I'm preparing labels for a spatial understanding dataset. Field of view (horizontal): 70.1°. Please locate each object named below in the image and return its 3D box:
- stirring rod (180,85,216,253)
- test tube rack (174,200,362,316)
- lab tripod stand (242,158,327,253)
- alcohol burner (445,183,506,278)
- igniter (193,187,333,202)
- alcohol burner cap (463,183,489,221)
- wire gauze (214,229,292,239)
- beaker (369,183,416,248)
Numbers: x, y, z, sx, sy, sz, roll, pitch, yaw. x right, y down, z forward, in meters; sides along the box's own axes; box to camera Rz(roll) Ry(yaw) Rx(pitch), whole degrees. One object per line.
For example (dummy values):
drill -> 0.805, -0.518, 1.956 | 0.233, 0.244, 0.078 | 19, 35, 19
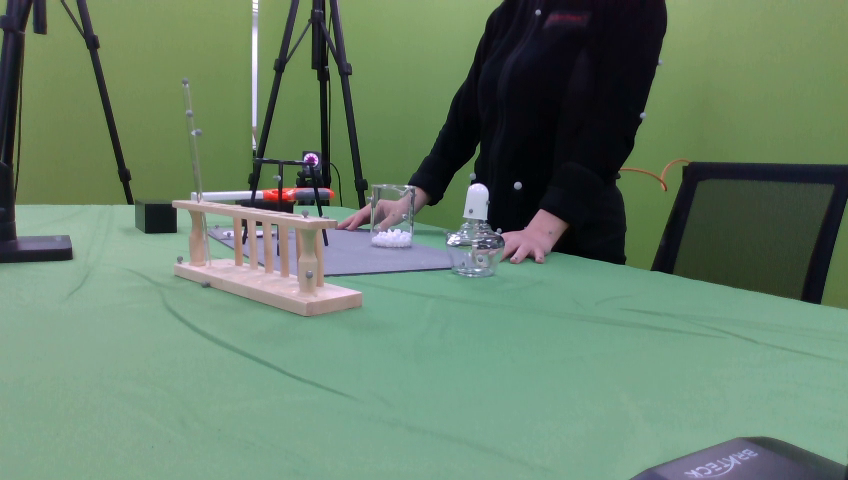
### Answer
stirring rod -> -0.237, -0.073, 0.634 | 0.006, 0.176, 0.014 | 0, 10, 42
test tube rack -> -0.169, 0.009, 0.622 | 0.241, 0.085, 0.067 | 9, 9, 41
lab tripod stand -> -0.207, -0.054, 0.895 | 0.148, 0.131, 0.148 | 3, 5, 0
alcohol burner -> 0.066, -0.013, 0.771 | 0.078, 0.119, 0.078 | 0, 7, 0
igniter -> -0.316, -0.090, 1.213 | 0.278, 0.025, 0.057 | -5, 13, -31
alcohol burner cap -> 0.067, -0.048, 0.765 | 0.034, 0.048, 0.034 | 5, 5, 0
wire gauze -> -0.298, -0.013, 1.039 | 0.122, 0.011, 0.124 | -2, 6, -27
beaker -> -0.050, -0.039, 0.971 | 0.074, 0.100, 0.083 | -1, 9, -25
